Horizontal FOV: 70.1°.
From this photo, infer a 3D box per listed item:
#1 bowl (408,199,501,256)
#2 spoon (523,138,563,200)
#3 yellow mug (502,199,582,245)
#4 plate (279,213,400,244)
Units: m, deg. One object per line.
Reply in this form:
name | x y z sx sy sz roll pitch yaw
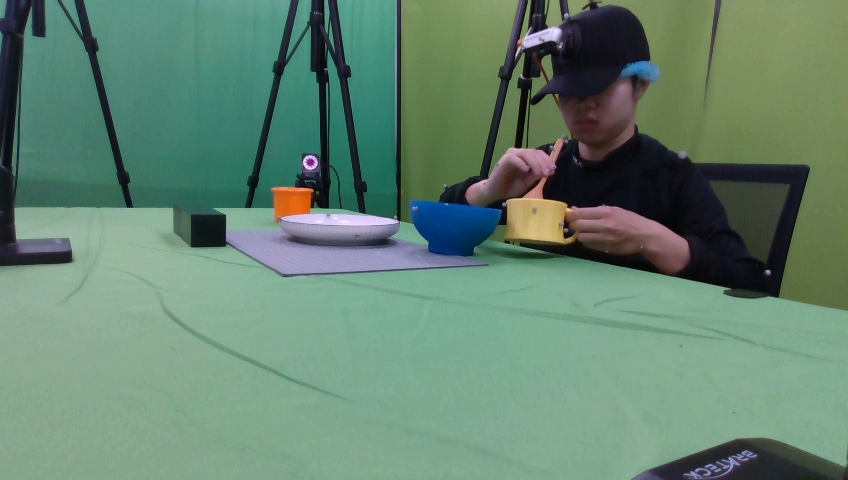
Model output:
bowl | 0.045 -0.019 0.967 0.151 0.077 0.151 6 5 0
spoon | 0.197 -0.102 0.999 0.041 0.022 0.194 11 52 24
yellow mug | 0.195 -0.027 0.985 0.131 0.064 0.100 6 -3 -9
plate | -0.147 -0.020 1.060 0.209 0.038 0.209 3 7 0
